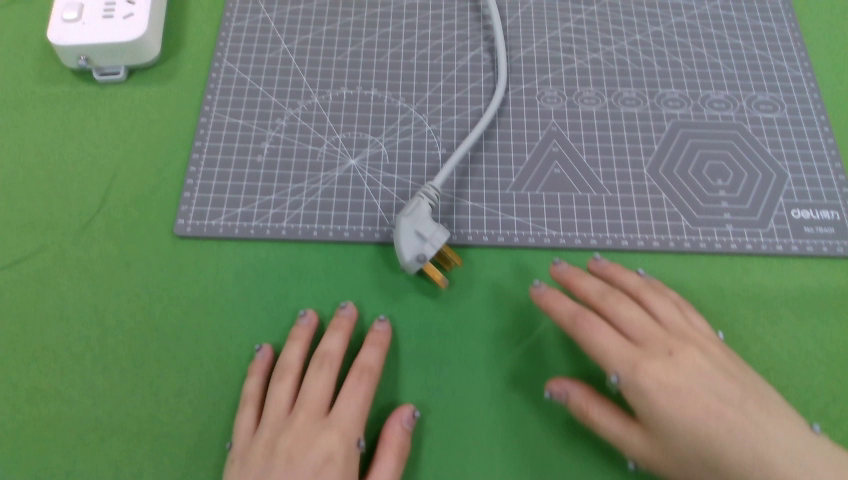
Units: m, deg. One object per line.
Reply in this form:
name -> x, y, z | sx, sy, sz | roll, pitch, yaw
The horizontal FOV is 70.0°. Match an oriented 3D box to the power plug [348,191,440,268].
power plug -> -0.017, -0.014, 0.364 | 0.035, 0.073, 0.052 | -36, 27, -6

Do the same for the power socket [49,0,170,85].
power socket -> -0.235, -0.220, 0.474 | 0.072, 0.033, 0.225 | -3, 64, -4
